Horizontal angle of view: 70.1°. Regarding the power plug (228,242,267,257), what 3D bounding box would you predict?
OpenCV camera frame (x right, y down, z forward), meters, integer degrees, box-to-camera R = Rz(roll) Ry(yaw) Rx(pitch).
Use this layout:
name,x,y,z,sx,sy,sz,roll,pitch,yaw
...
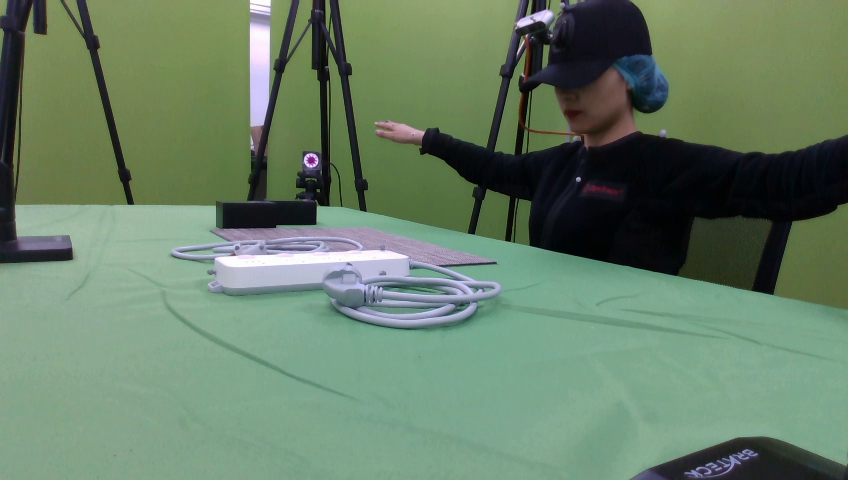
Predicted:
name,x,y,z,sx,sy,sz,roll,pitch,yaw
power plug,-0.217,0.024,0.737,0.053,0.035,0.072,-23,-5,-9

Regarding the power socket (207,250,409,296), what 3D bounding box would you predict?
name,x,y,z,sx,sy,sz,roll,pitch,yaw
power socket,-0.119,0.033,0.668,0.228,0.032,0.072,-2,9,-31
